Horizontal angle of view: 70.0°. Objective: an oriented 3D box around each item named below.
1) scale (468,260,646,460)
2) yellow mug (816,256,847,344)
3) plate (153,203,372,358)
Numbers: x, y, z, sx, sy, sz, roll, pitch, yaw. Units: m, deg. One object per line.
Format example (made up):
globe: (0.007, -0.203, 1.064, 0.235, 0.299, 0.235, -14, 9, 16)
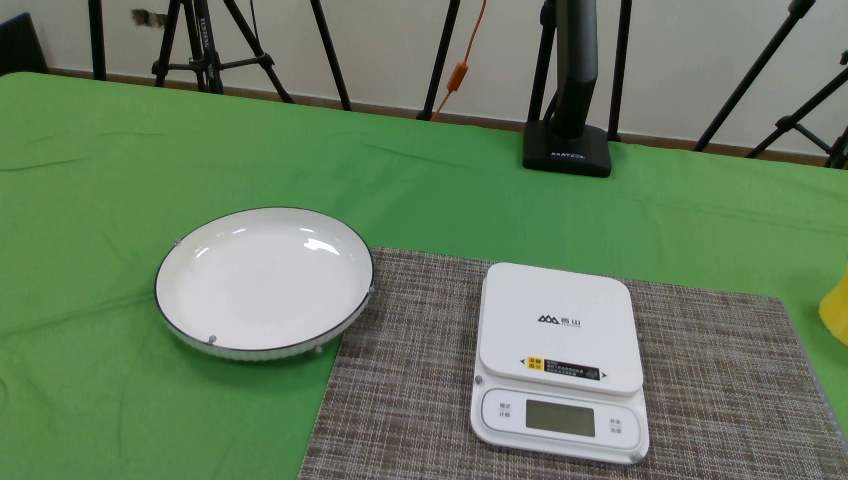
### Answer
scale: (0.121, 0.100, 0.561, 0.148, 0.032, 0.199, 8, 41, 4)
yellow mug: (0.479, 0.071, 0.609, 0.100, 0.064, 0.129, -24, 49, -29)
plate: (-0.157, 0.038, 0.607, 0.209, 0.038, 0.207, 3, 41, -2)
